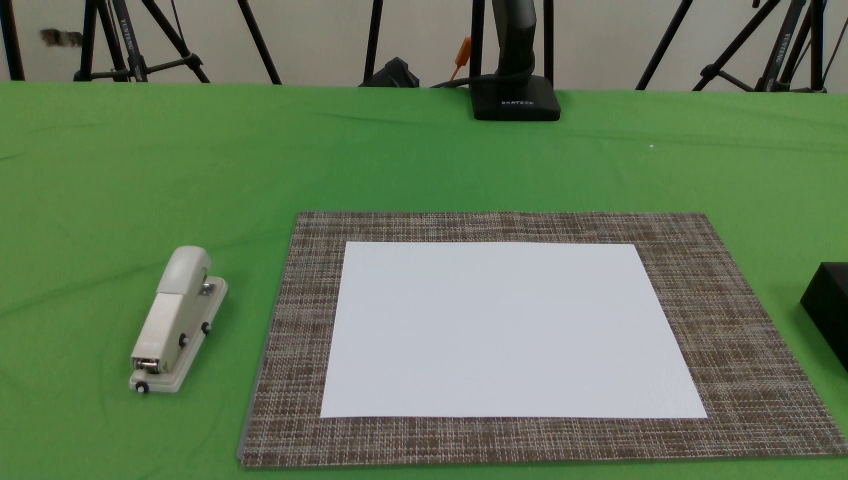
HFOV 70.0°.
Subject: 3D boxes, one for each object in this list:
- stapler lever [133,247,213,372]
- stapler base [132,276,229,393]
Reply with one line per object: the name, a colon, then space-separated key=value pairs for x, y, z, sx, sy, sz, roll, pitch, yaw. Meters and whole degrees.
stapler lever: x=-0.207 y=0.053 z=0.503 sx=0.027 sy=0.040 sz=0.117 roll=2 pitch=41 yaw=4
stapler base: x=-0.208 y=0.071 z=0.521 sx=0.041 sy=0.024 sz=0.129 roll=2 pitch=41 yaw=4
